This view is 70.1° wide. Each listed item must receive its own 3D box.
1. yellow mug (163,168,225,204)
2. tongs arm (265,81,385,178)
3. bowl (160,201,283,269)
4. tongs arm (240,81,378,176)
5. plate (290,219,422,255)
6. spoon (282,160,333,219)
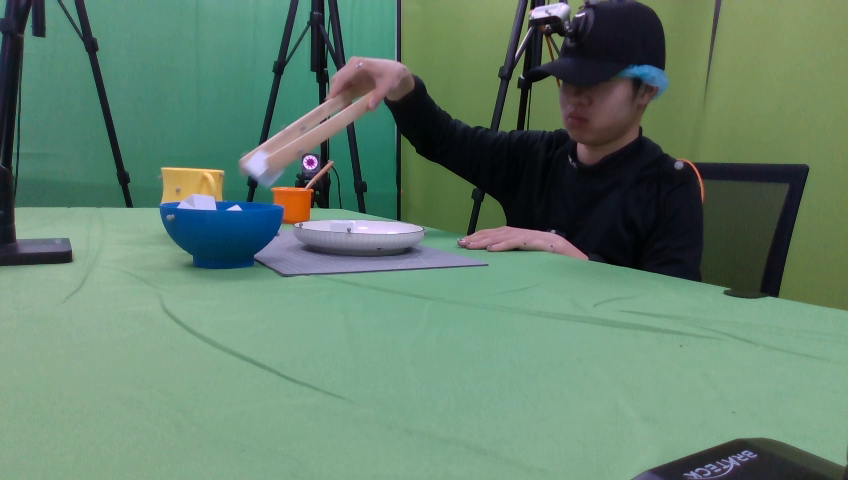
[{"bbox_3d":[-0.383,-0.087,1.026,0.130,0.064,0.100,11,11,44],"label":"yellow mug"},{"bbox_3d":[-0.139,-0.184,0.946,0.028,0.028,0.388,3,30,22],"label":"tongs arm"},{"bbox_3d":[-0.260,-0.006,0.783,0.151,0.077,0.151,3,8,0],"label":"bowl"},{"bbox_3d":[-0.164,-0.187,0.956,0.050,0.026,0.385,4,30,18],"label":"tongs arm"},{"bbox_3d":[-0.108,-0.005,0.963,0.208,0.039,0.207,3,7,0],"label":"plate"},{"bbox_3d":[-0.262,-0.115,1.359,0.041,0.194,0.022,12,-33,39],"label":"spoon"}]
